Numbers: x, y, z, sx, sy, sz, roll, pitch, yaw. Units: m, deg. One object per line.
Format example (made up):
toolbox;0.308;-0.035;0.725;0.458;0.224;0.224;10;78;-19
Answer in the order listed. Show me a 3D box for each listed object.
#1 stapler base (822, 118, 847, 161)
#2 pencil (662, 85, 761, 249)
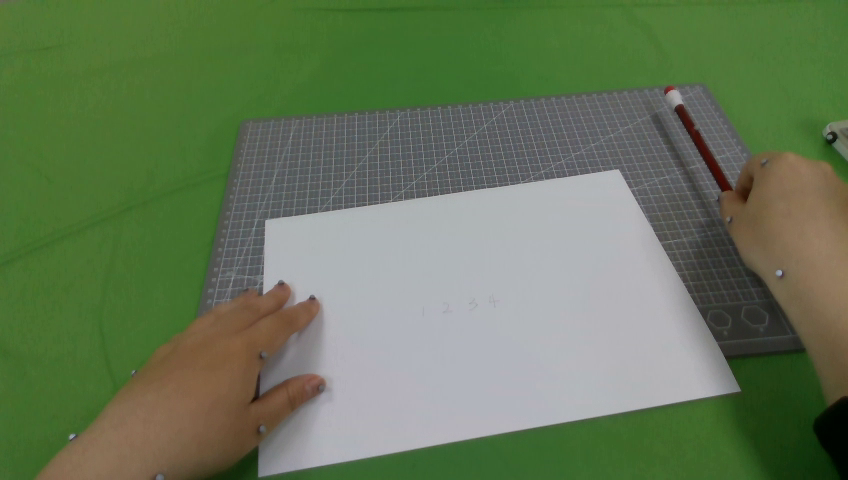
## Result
stapler base;0.379;-0.063;0.492;0.041;0.025;0.129;-10;50;-2
pencil;0.229;-0.066;0.489;0.012;0.012;0.192;-6;50;-1
